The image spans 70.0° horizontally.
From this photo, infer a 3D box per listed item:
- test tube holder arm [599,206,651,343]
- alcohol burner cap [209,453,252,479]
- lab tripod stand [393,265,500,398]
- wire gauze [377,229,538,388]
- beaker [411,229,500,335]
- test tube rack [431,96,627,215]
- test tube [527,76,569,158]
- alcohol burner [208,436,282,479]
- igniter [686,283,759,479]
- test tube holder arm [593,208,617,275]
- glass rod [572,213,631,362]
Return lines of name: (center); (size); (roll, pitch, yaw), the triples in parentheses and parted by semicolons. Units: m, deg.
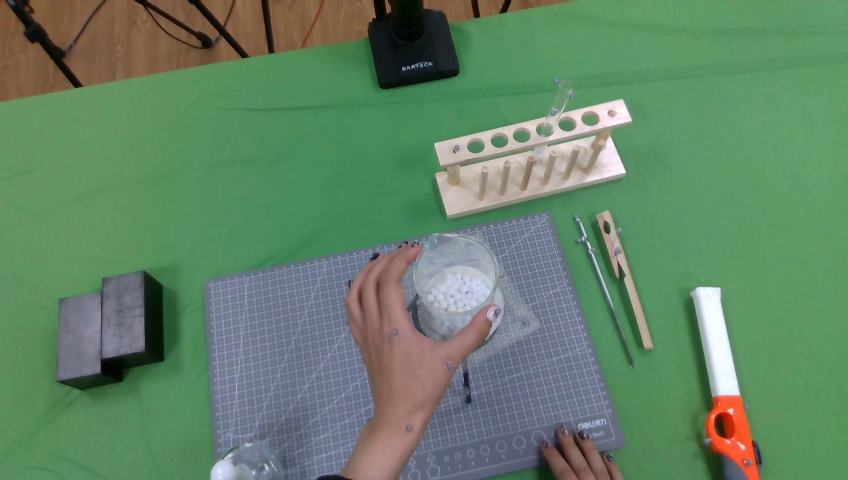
test tube holder arm: (0.245, 0.040, 0.742); (0.013, 0.015, 0.177); (-25, 65, 28)
alcohol burner cap: (-0.190, 0.223, 0.586); (0.034, 0.048, 0.033); (-1, 57, 2)
lab tripod stand: (0.029, 0.092, 0.663); (0.148, 0.132, 0.147); (-1, 68, 3)
wire gauze: (0.031, 0.063, 0.603); (0.121, 0.011, 0.124); (-28, 70, -6)
beaker: (0.027, 0.042, 0.560); (0.074, 0.101, 0.083); (-26, 68, -7)
test tube rack: (0.134, -0.106, 0.772); (0.242, 0.086, 0.066); (-14, 67, -4)
test tube: (0.148, -0.144, 0.734); (0.017, 0.151, 0.017); (2, 65, -3)
alcohol burner: (-0.187, 0.239, 0.618); (0.078, 0.120, 0.077); (-1, 65, 2)
igniter: (0.333, 0.180, 0.677); (0.057, 0.025, 0.274); (3, 67, -8)
test tube holder arm: (0.231, 0.002, 0.761); (0.010, 0.015, 0.087); (-25, 65, 28)
glass rod: (0.216, 0.054, 0.743); (0.008, 0.008, 0.198); (-13, 67, -4)
